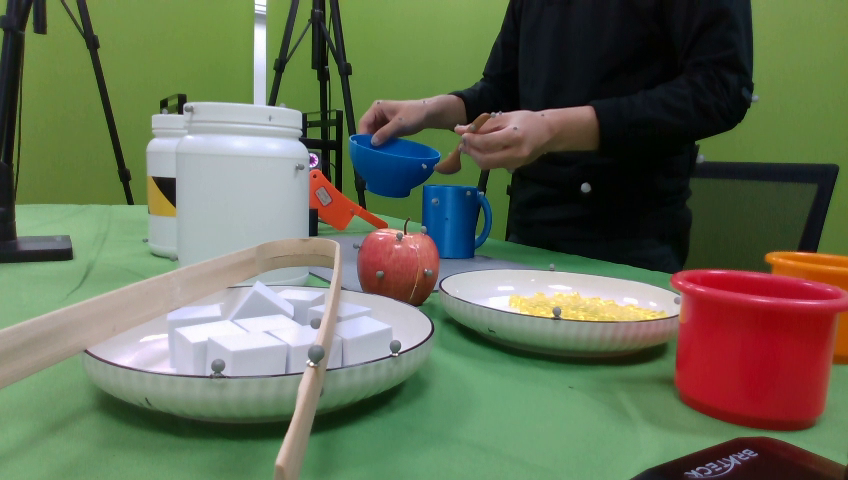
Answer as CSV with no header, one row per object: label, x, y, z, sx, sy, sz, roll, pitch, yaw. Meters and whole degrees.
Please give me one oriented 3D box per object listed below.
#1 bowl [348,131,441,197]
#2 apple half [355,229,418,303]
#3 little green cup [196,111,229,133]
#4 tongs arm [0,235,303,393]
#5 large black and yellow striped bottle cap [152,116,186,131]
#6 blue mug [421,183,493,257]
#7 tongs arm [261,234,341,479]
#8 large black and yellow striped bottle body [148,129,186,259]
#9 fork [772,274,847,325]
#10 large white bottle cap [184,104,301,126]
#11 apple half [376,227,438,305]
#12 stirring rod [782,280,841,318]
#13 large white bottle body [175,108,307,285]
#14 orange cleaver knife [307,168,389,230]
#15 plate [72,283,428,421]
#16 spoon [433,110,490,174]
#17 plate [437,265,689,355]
bowl,-0.054,-0.119,0.978,0.151,0.077,0.151,10,20,-3
apple half,-0.043,0.027,0.564,0.081,0.081,0.033,9,5,42
little green cup,-0.403,-0.225,1.154,0.061,0.038,0.061,3,8,0
tongs arm,-0.157,0.037,0.351,0.028,0.028,0.388,-3,8,12
large black and yellow striped bottle cap,-0.309,-0.155,0.826,0.115,0.019,0.115,3,6,0
blue mug,0.052,-0.032,0.912,0.117,0.106,0.082,-1,8,-24
tongs arm,-0.073,0.039,0.349,0.051,0.026,0.384,-1,10,-3
large black and yellow striped bottle body,-0.310,-0.073,0.838,0.131,0.184,0.130,2,8,0
fork,0.332,0.018,0.443,0.028,0.018,0.207,-1,-36,-15
large white bottle cap,-0.184,-0.126,0.618,0.115,0.018,0.115,2,8,0
apple half,-0.017,0.026,0.593,0.080,0.074,0.053,4,2,43
stirring rod,0.344,0.019,0.461,0.014,0.006,0.176,-13,-27,-30
large white bottle body,-0.188,-0.042,0.630,0.131,0.184,0.130,2,8,0
orange cleaver knife,-0.158,-0.060,1.166,0.212,0.077,0.012,34,-12,-32
plate,-0.102,0.066,0.381,0.208,0.039,0.207,2,7,0
spoon,0.051,-0.130,0.823,0.042,0.021,0.193,5,-21,-12
plate,0.114,0.057,0.517,0.209,0.038,0.209,3,8,0
